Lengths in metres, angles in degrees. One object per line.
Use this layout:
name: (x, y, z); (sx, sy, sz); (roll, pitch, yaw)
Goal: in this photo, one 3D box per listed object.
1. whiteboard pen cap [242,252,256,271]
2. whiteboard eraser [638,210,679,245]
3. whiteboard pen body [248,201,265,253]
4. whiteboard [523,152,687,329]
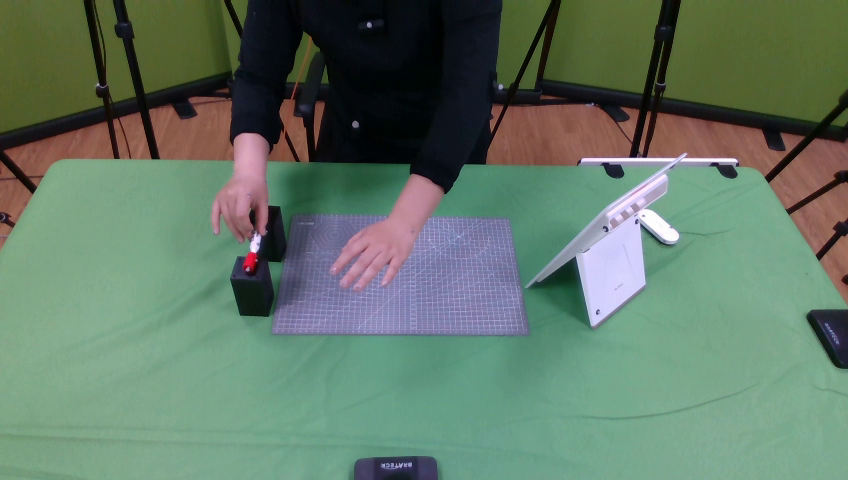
whiteboard pen cap: (-0.290, 0.035, 1.004); (0.017, 0.017, 0.032); (5, 44, 1)
whiteboard eraser: (0.485, -0.027, 1.260); (0.041, 0.019, 0.100); (-20, 50, -22)
whiteboard pen body: (-0.293, -0.018, 1.056); (0.017, 0.017, 0.139); (0, 45, -5)
whiteboard: (0.346, 0.025, 1.046); (0.217, 0.306, 0.143); (-30, 74, -29)
